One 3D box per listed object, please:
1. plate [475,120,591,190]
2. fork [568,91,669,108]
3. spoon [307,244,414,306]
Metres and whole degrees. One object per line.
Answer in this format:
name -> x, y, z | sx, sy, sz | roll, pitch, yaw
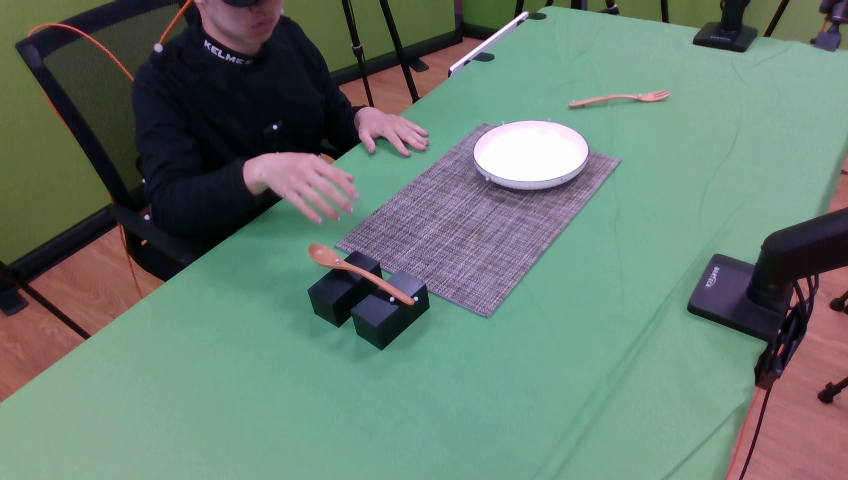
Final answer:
plate -> 0.196, -0.151, 1.099 | 0.207, 0.039, 0.206 | -4, 40, 4
fork -> 0.402, -0.290, 1.252 | 0.207, 0.019, 0.028 | -4, 47, 1
spoon -> -0.091, 0.048, 0.848 | 0.192, 0.021, 0.042 | 22, 26, 30
